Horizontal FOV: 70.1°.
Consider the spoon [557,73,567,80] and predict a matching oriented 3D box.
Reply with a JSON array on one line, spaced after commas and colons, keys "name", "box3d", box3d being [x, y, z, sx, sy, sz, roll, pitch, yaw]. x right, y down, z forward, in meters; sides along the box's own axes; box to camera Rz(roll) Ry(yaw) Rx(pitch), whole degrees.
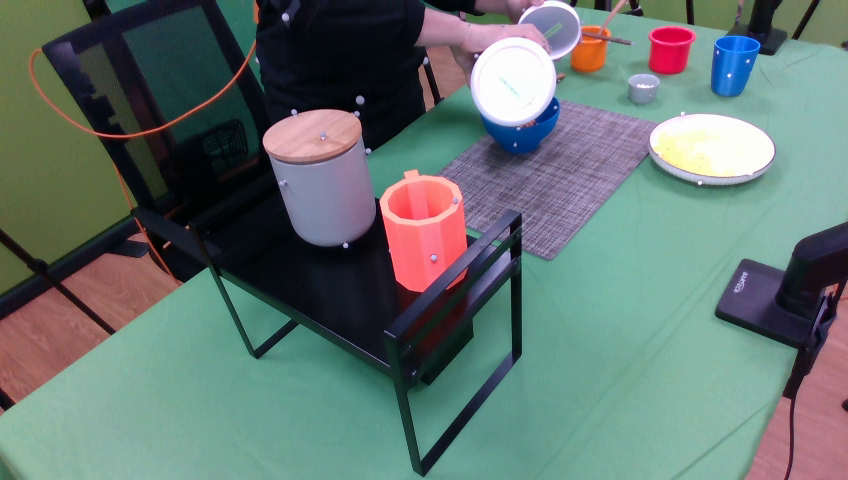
[{"name": "spoon", "box3d": [0.250, -0.337, 1.332, 0.194, 0.022, 0.041, -32, 32, -25]}]

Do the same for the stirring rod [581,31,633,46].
[{"name": "stirring rod", "box3d": [0.382, -0.454, 1.345, 0.174, 0.006, 0.014, 27, 53, 34]}]

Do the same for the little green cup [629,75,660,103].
[{"name": "little green cup", "box3d": [0.458, -0.314, 1.260, 0.061, 0.039, 0.061, -4, 40, 4]}]

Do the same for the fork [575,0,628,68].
[{"name": "fork", "box3d": [0.413, -0.481, 1.377, 0.207, 0.019, 0.028, -57, 43, 12]}]

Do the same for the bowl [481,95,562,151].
[{"name": "bowl", "box3d": [0.187, -0.223, 1.161, 0.151, 0.077, 0.150, -4, 40, 4]}]

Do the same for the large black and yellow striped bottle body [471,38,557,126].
[{"name": "large black and yellow striped bottle body", "box3d": [0.154, -0.262, 1.001, 0.130, 0.131, 0.184, 2, 16, 12]}]

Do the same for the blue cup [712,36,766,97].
[{"name": "blue cup", "box3d": [0.627, -0.350, 1.227, 0.092, 0.100, 0.092, -4, 39, 4]}]

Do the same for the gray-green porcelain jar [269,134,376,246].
[{"name": "gray-green porcelain jar", "box3d": [-0.115, -0.064, 0.715, 0.106, 0.127, 0.105, -4, 40, 4]}]

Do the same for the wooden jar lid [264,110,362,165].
[{"name": "wooden jar lid", "box3d": [-0.122, -0.112, 0.673, 0.108, 0.021, 0.108, -4, 37, 4]}]

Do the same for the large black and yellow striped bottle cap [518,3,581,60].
[{"name": "large black and yellow striped bottle cap", "box3d": [0.230, -0.383, 1.117, 0.115, 0.115, 0.018, 0, 55, 9]}]

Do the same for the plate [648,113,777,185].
[{"name": "plate", "box3d": [0.506, -0.158, 1.073, 0.209, 0.038, 0.208, -5, 40, 4]}]

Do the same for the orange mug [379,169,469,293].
[{"name": "orange mug", "box3d": [-0.002, -0.019, 0.665, 0.083, 0.101, 0.125, -12, 45, -4]}]
